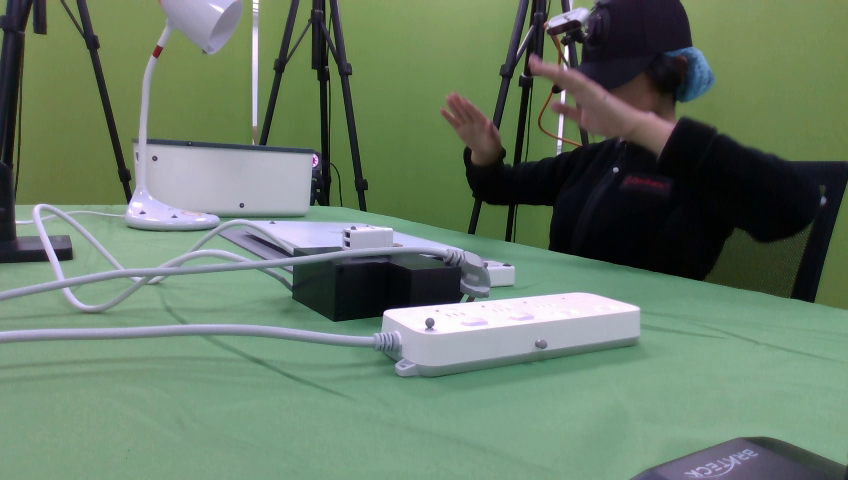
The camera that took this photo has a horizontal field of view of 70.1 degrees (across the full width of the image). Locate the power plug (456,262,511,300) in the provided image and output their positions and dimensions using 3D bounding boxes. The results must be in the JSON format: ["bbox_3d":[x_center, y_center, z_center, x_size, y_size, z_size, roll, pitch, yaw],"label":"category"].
[{"bbox_3d":[0.051,0.050,0.543,0.035,0.052,0.072,7,37,-19],"label":"power plug"}]

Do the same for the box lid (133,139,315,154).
[{"bbox_3d":[-0.466,-0.215,1.407,0.373,0.015,0.262,-1,8,-31],"label":"box lid"}]

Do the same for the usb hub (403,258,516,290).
[{"bbox_3d":[0.042,0.038,0.690,0.126,0.025,0.049,-2,9,-30],"label":"usb hub"}]

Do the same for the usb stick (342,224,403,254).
[{"bbox_3d":[-0.047,-0.001,0.567,0.059,0.027,0.021,0,5,-32],"label":"usb stick"}]

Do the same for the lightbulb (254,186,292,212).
[{"bbox_3d":[-0.370,-0.094,1.492,0.059,0.059,0.108,8,-11,39],"label":"lightbulb"}]

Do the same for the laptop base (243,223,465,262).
[{"bbox_3d":[-0.126,0.003,0.946,0.237,0.023,0.352,2,6,-31],"label":"laptop base"}]

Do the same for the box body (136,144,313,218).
[{"bbox_3d":[-0.467,-0.141,1.417,0.366,0.160,0.253,-2,8,-31],"label":"box body"}]

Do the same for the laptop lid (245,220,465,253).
[{"bbox_3d":[-0.124,-0.009,0.945,0.243,0.013,0.355,1,7,-29],"label":"laptop lid"}]

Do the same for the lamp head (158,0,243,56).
[{"bbox_3d":[-0.399,-0.397,1.057,0.123,0.112,0.112,27,5,-7],"label":"lamp head"}]

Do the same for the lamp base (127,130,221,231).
[{"bbox_3d":[-0.469,-0.112,1.108,0.179,0.180,0.160,0,7,3],"label":"lamp base"}]

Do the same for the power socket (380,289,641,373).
[{"bbox_3d":[0.072,0.064,0.461,0.228,0.032,0.072,-2,8,-30],"label":"power socket"}]

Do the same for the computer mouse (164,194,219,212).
[{"bbox_3d":[-0.532,-0.084,1.387,0.118,0.041,0.062,2,3,-31],"label":"computer mouse"}]
